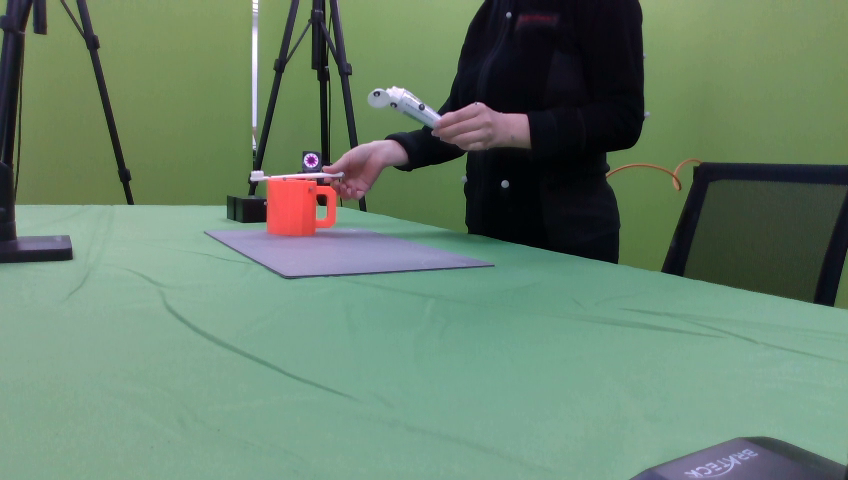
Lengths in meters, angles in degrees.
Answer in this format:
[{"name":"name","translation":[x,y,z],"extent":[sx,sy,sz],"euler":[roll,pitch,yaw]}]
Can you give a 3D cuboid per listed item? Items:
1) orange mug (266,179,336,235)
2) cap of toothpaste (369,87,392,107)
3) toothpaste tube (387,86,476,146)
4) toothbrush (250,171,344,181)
[{"name":"orange mug","translation":[-0.222,-0.062,1.094],"extent":[0.127,0.101,0.083],"euler":[-5,10,-22]},{"name":"cap of toothpaste","translation":[-0.066,-0.217,0.914],"extent":[0.037,0.011,0.037],"euler":[-10,-34,-7]},{"name":"toothpaste tube","translation":[0.011,-0.194,0.958],"extent":[0.166,0.034,0.055],"euler":[26,19,-19]},{"name":"toothbrush","translation":[-0.227,-0.119,1.097],"extent":[0.183,0.016,0.014],"euler":[-7,16,-36]}]
